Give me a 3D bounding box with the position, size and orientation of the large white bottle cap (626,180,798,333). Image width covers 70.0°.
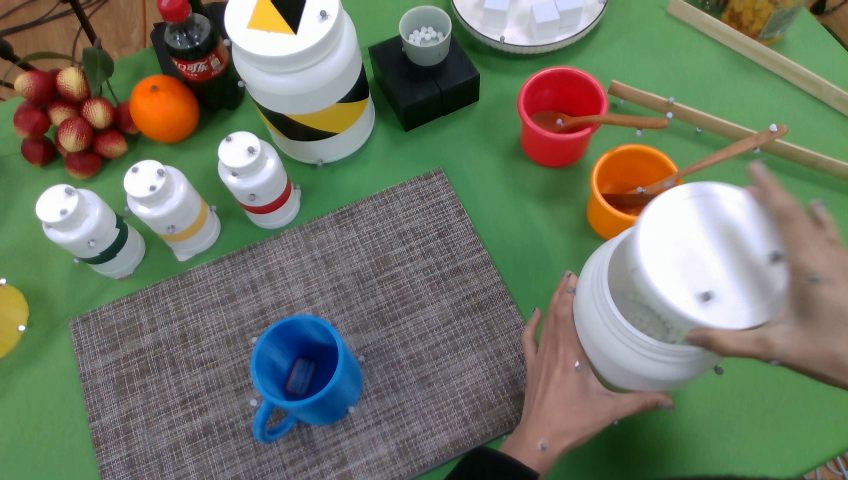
[{"bbox_3d":[0.205,0.009,0.434,0.115,0.018,0.114,-1,67,2],"label":"large white bottle cap"}]

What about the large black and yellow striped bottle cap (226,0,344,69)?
[{"bbox_3d":[-0.137,-0.221,0.596,0.115,0.019,0.114,-2,68,5],"label":"large black and yellow striped bottle cap"}]

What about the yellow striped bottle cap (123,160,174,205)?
[{"bbox_3d":[-0.275,-0.058,0.604,0.044,0.019,0.044,0,61,1],"label":"yellow striped bottle cap"}]

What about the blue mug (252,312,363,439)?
[{"bbox_3d":[-0.116,0.136,0.570,0.082,0.106,0.116,31,72,17],"label":"blue mug"}]

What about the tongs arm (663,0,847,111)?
[{"bbox_3d":[0.452,-0.194,0.728,0.385,0.028,0.028,41,66,18],"label":"tongs arm"}]

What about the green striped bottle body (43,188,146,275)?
[{"bbox_3d":[-0.354,-0.012,0.646,0.063,0.120,0.062,-1,65,3],"label":"green striped bottle body"}]

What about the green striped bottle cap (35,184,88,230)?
[{"bbox_3d":[-0.358,-0.033,0.599,0.044,0.020,0.044,-1,64,2],"label":"green striped bottle cap"}]

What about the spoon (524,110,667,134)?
[{"bbox_3d":[0.177,-0.129,0.652,0.041,0.192,0.022,-42,115,-17],"label":"spoon"}]

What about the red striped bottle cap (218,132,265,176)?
[{"bbox_3d":[-0.184,-0.088,0.612,0.044,0.018,0.044,0,63,0],"label":"red striped bottle cap"}]

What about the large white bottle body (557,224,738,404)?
[{"bbox_3d":[0.195,0.067,0.541,0.130,0.186,0.129,-2,65,4],"label":"large white bottle body"}]

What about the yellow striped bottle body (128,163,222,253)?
[{"bbox_3d":[-0.270,-0.038,0.652,0.063,0.121,0.062,-2,65,4],"label":"yellow striped bottle body"}]

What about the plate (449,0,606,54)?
[{"bbox_3d":[0.135,-0.325,0.800,0.209,0.038,0.207,-1,66,3],"label":"plate"}]

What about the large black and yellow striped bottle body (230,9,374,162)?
[{"bbox_3d":[-0.133,-0.186,0.675,0.131,0.185,0.129,-1,66,3],"label":"large black and yellow striped bottle body"}]

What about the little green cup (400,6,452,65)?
[{"bbox_3d":[0.003,-0.239,0.714,0.061,0.039,0.061,-1,63,2],"label":"little green cup"}]

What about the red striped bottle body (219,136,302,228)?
[{"bbox_3d":[-0.179,-0.066,0.659,0.063,0.120,0.062,-2,65,6],"label":"red striped bottle body"}]

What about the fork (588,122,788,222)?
[{"bbox_3d":[0.259,-0.067,0.616,0.207,0.019,0.028,-30,55,39],"label":"fork"}]

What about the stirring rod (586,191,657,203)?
[{"bbox_3d":[0.237,-0.042,0.613,0.014,0.006,0.175,-50,31,-21],"label":"stirring rod"}]

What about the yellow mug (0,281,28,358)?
[{"bbox_3d":[-0.487,0.093,0.637,0.100,0.064,0.129,-14,67,-3],"label":"yellow mug"}]

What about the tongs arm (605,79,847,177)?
[{"bbox_3d":[0.401,-0.126,0.696,0.383,0.027,0.050,25,65,13],"label":"tongs arm"}]
